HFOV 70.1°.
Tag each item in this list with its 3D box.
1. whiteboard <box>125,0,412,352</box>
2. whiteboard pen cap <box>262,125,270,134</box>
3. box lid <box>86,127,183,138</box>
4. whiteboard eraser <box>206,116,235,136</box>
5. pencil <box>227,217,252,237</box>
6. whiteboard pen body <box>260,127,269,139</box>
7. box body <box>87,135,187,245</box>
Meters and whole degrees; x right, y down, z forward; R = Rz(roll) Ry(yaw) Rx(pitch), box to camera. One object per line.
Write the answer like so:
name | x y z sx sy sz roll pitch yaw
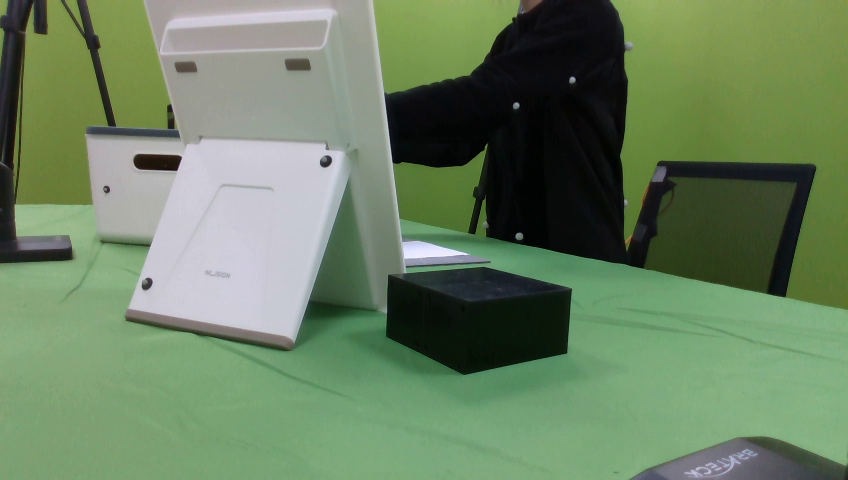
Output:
whiteboard | -0.151 -0.049 0.471 0.216 0.305 0.144 6 27 24
whiteboard pen cap | -0.349 -0.244 1.337 0.018 0.018 0.033 0 2 -17
box lid | -0.331 -0.166 1.009 0.263 0.015 0.372 3 7 9
whiteboard eraser | -0.450 -0.252 1.335 0.056 0.042 0.112 1 7 -22
pencil | -0.333 -0.024 1.092 0.012 0.012 0.193 2 10 -5
whiteboard pen body | -0.366 -0.247 1.392 0.017 0.017 0.140 0 3 -17
box body | -0.338 -0.088 1.022 0.254 0.160 0.364 3 7 9
